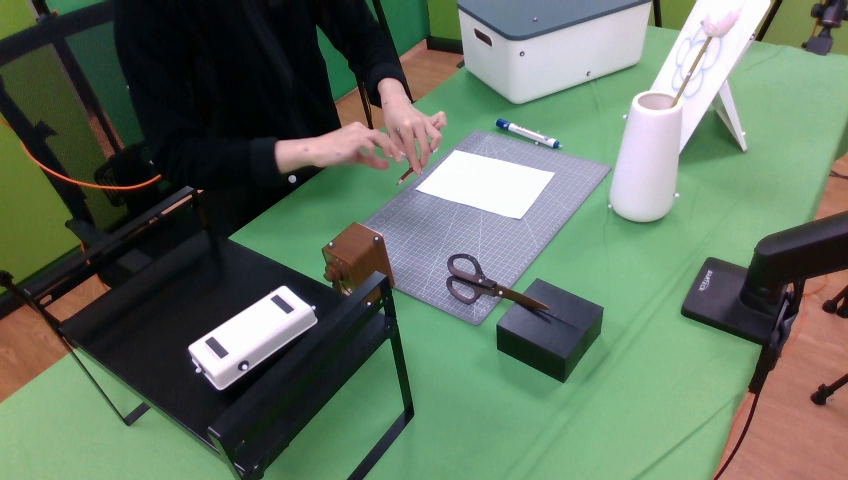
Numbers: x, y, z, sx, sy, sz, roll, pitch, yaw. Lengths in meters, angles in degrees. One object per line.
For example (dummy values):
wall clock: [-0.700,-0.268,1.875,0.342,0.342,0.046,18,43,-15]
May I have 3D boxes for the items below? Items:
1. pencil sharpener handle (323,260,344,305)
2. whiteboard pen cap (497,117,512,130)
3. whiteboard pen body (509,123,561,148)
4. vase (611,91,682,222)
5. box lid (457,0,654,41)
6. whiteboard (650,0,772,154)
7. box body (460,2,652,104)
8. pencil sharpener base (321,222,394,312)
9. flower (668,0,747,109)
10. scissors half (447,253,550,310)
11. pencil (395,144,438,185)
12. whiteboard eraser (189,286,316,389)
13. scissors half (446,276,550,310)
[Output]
pencil sharpener handle: [-0.131,0.061,0.839,0.035,0.068,0.031,29,56,28]
whiteboard pen cap: [0.165,-0.235,1.227,0.033,0.018,0.018,31,53,31]
whiteboard pen body: [0.208,-0.212,1.195,0.139,0.017,0.017,30,52,33]
vase: [0.348,-0.125,0.935,0.098,0.201,0.097,-3,40,3]
box lid: [0.285,-0.522,1.323,0.373,0.015,0.261,-22,43,-16]
whiteboard: [0.543,-0.298,1.076,0.144,0.305,0.216,12,40,-7]
box body: [0.291,-0.465,1.371,0.365,0.161,0.252,-22,42,-16]
pencil sharpener base: [-0.096,0.041,0.873,0.061,0.107,0.077,25,54,32]
flower: [0.354,-0.187,0.879,0.038,0.362,0.044,30,48,14]
scissors half: [0.098,0.058,0.821,0.173,0.040,0.013,27,33,37]
pencil: [-0.012,-0.127,1.004,0.012,0.012,0.194,8,29,18]
whiteboard eraser: [-0.166,0.096,0.593,0.113,0.042,0.055,-36,47,-29]
scissors half: [0.098,0.077,0.827,0.174,0.040,0.013,6,14,44]
